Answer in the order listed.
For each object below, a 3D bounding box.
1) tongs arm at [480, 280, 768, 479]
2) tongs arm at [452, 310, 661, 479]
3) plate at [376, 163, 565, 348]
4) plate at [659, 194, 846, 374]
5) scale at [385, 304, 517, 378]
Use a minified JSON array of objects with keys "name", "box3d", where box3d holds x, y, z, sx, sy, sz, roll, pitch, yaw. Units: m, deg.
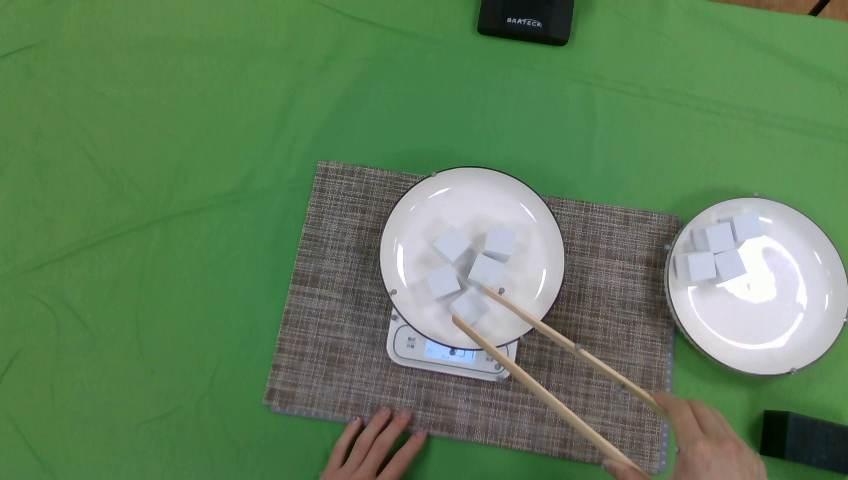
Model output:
[{"name":"tongs arm","box3d":[0.192,0.157,0.550,0.381,0.027,0.050,33,69,25]},{"name":"tongs arm","box3d":[0.172,0.177,0.541,0.384,0.028,0.028,36,67,25]},{"name":"plate","box3d":[0.051,0.017,0.679,0.209,0.038,0.208,0,78,0]},{"name":"plate","box3d":[0.375,0.051,0.705,0.208,0.039,0.206,0,77,0]},{"name":"scale","box3d":[0.042,0.051,0.705,0.148,0.032,0.200,10,78,2]}]
